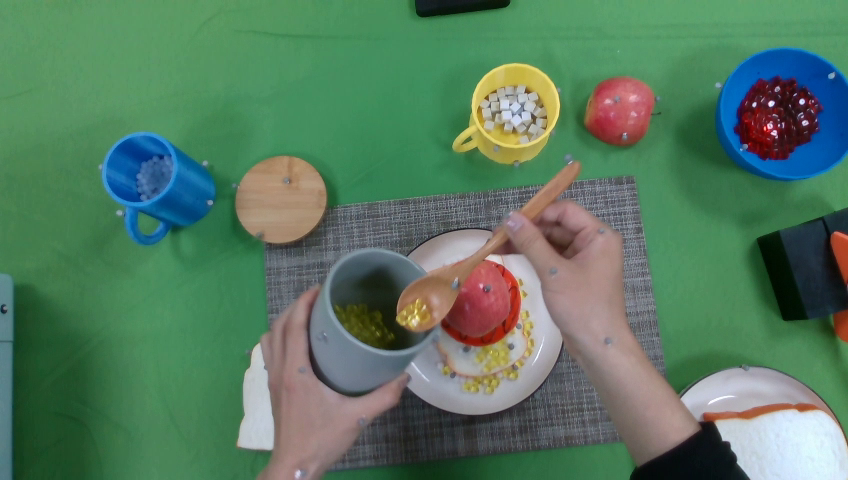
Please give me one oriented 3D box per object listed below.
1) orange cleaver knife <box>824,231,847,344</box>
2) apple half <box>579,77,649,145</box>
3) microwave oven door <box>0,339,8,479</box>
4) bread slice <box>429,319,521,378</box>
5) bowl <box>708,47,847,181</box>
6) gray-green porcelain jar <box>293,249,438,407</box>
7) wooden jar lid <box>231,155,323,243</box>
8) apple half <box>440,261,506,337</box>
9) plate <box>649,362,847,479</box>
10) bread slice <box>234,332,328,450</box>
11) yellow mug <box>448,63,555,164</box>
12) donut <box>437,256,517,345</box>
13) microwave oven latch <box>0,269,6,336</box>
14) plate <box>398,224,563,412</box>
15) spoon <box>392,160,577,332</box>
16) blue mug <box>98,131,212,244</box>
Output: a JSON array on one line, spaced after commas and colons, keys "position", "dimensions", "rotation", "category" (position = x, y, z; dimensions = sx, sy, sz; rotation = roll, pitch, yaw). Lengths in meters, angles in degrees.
[{"position": [0.468, 0.093, 0.656], "dimensions": [0.012, 0.077, 0.212], "rotation": [-17, 103, -8], "category": "orange cleaver knife"}, {"position": [0.227, -0.158, 0.716], "dimensions": [0.074, 0.053, 0.080], "rotation": [16, 82, 7], "category": "apple half"}, {"position": [-0.481, 0.270, 0.555], "dimensions": [0.039, 0.244, 0.354], "rotation": [-6, 81, 1], "category": "microwave oven door"}, {"position": [0.052, 0.090, 0.702], "dimensions": [0.107, 0.018, 0.133], "rotation": [-24, 69, -5], "category": "bread slice"}, {"position": [0.392, -0.133, 0.694], "dimensions": [0.151, 0.077, 0.151], "rotation": [0, 82, 2], "category": "bowl"}, {"position": [-0.059, 0.086, 0.554], "dimensions": [0.106, 0.127, 0.105], "rotation": [15, 49, -18], "category": "gray-green porcelain jar"}, {"position": [-0.173, -0.047, 0.723], "dimensions": [0.108, 0.021, 0.108], "rotation": [-1, 78, 3], "category": "wooden jar lid"}, {"position": [0.048, 0.060, 0.626], "dimensions": [0.081, 0.033, 0.081], "rotation": [-2, 79, 8], "category": "apple half"}, {"position": [0.347, 0.238, 0.659], "dimensions": [0.209, 0.038, 0.208], "rotation": [0, 81, 2], "category": "plate"}, {"position": [-0.161, 0.171, 0.690], "dimensions": [0.105, 0.019, 0.131], "rotation": [1, 83, 1], "category": "bread slice"}, {"position": [0.085, -0.139, 0.710], "dimensions": [0.131, 0.064, 0.099], "rotation": [-30, 81, -2], "category": "yellow mug"}, {"position": [0.052, 0.066, 0.661], "dimensions": [0.099, 0.048, 0.098], "rotation": [0, 82, 2], "category": "donut"}, {"position": [-0.497, 0.070, 0.687], "dimensions": [0.030, 0.029, 0.079], "rotation": [-2, 82, 1], "category": "microwave oven latch"}, {"position": [0.050, 0.087, 0.687], "dimensions": [0.207, 0.039, 0.207], "rotation": [0, 82, 2], "category": "plate"}, {"position": [0.047, 0.007, 0.481], "dimensions": [0.042, 0.021, 0.194], "rotation": [46, 110, -4], "category": "spoon"}, {"position": [-0.305, -0.051, 0.686], "dimensions": [0.082, 0.106, 0.116], "rotation": [15, 82, 4], "category": "blue mug"}]
